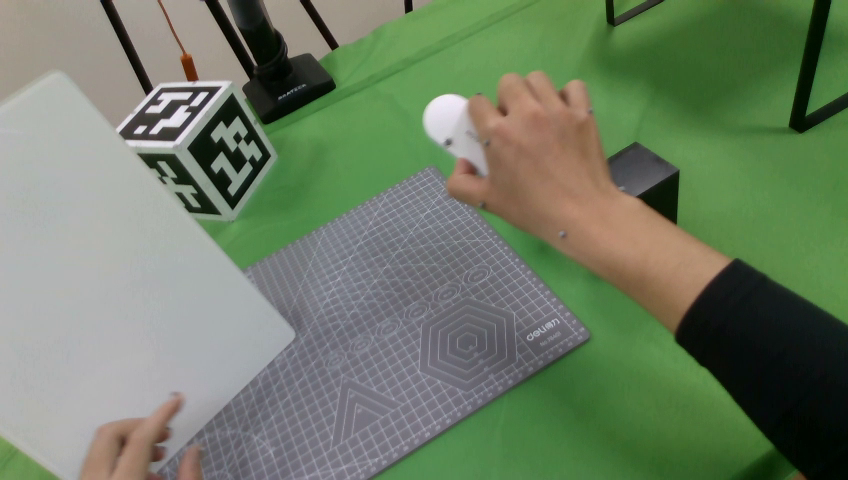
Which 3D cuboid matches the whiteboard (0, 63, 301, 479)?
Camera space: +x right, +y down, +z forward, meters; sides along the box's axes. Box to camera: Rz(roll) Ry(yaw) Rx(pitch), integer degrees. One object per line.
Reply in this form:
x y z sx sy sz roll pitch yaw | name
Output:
-0.302 0.041 0.533 0.217 0.308 0.142 -45 31 -20 | whiteboard

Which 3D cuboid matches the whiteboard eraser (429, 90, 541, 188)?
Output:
0.048 -0.080 0.481 0.101 0.019 0.041 38 84 5 | whiteboard eraser
